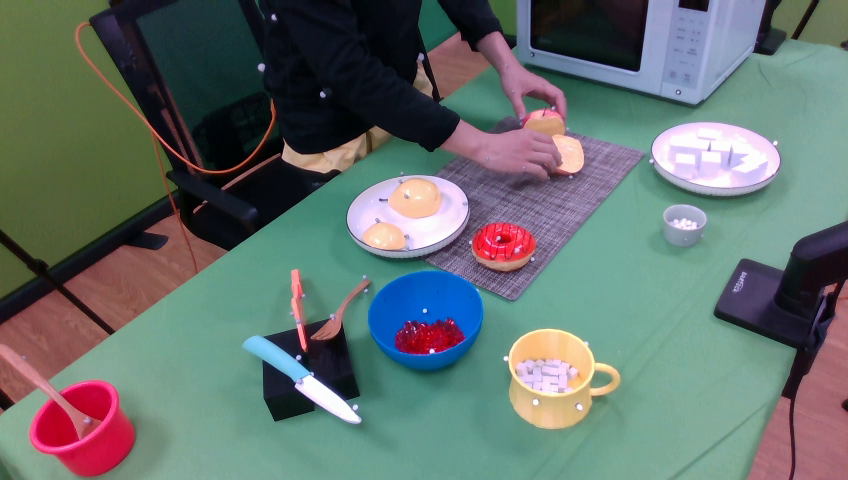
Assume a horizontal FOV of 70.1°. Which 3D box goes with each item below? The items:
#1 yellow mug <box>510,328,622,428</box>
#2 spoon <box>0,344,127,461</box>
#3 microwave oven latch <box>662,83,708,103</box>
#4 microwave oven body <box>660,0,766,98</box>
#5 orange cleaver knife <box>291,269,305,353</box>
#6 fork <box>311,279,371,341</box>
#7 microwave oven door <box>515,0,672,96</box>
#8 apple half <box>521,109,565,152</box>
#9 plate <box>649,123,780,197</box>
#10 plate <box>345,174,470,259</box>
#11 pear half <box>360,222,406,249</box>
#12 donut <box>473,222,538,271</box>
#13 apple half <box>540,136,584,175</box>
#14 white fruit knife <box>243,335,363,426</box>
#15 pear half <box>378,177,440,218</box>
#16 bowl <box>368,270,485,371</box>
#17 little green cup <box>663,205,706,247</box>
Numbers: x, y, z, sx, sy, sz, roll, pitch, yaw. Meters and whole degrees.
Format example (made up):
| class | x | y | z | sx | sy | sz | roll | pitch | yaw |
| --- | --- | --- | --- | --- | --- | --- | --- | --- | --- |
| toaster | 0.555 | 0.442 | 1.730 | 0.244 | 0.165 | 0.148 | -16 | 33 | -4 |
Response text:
| class | x | y | z | sx | sy | sz | roll | pitch | yaw |
| --- | --- | --- | --- | --- | --- | --- | --- | --- | --- |
| yellow mug | 0.168 | 0.164 | 0.722 | 0.130 | 0.064 | 0.099 | 0 | 40 | 8 |
| spoon | -0.433 | 0.191 | 0.721 | 0.194 | 0.021 | 0.042 | 47 | 53 | -6 |
| microwave oven latch | 0.518 | -0.297 | 1.204 | 0.078 | 0.029 | 0.030 | 28 | 52 | 35 |
| microwave oven body | 0.472 | -0.513 | 1.317 | 0.438 | 0.261 | 0.327 | 26 | 51 | 34 |
| orange cleaver knife | -0.175 | 0.094 | 0.844 | 0.012 | 0.077 | 0.210 | -11 | 14 | -10 |
| fork | -0.108 | 0.092 | 0.832 | 0.028 | 0.019 | 0.207 | -6 | 19 | 15 |
| microwave oven door | 0.343 | -0.455 | 1.259 | 0.353 | 0.245 | 0.039 | 26 | 51 | 33 |
| apple half | 0.224 | -0.212 | 1.146 | 0.080 | 0.075 | 0.053 | -7 | 36 | 9 |
| plate | 0.497 | -0.135 | 1.046 | 0.207 | 0.039 | 0.206 | -4 | 40 | 4 |
| plate | -0.026 | -0.037 | 1.003 | 0.209 | 0.038 | 0.208 | -4 | 40 | 4 |
| pear half | -0.064 | -0.013 | 0.960 | 0.071 | 0.031 | 0.087 | 5 | 24 | -22 |
| donut | 0.123 | 0.008 | 0.923 | 0.099 | 0.048 | 0.098 | -3 | 38 | 3 |
| apple half | 0.247 | -0.148 | 1.088 | 0.081 | 0.033 | 0.081 | 0 | 67 | 0 |
| white fruit knife | -0.148 | 0.166 | 0.730 | 0.206 | 0.016 | 0.027 | 26 | 80 | 31 |
| pear half | -0.030 | -0.079 | 1.033 | 0.109 | 0.056 | 0.076 | 0 | 36 | 15 |
| bowl | 0.007 | 0.118 | 0.791 | 0.151 | 0.077 | 0.150 | -5 | 40 | 4 |
| little green cup | 0.396 | -0.021 | 0.926 | 0.061 | 0.039 | 0.061 | -4 | 40 | 4 |
